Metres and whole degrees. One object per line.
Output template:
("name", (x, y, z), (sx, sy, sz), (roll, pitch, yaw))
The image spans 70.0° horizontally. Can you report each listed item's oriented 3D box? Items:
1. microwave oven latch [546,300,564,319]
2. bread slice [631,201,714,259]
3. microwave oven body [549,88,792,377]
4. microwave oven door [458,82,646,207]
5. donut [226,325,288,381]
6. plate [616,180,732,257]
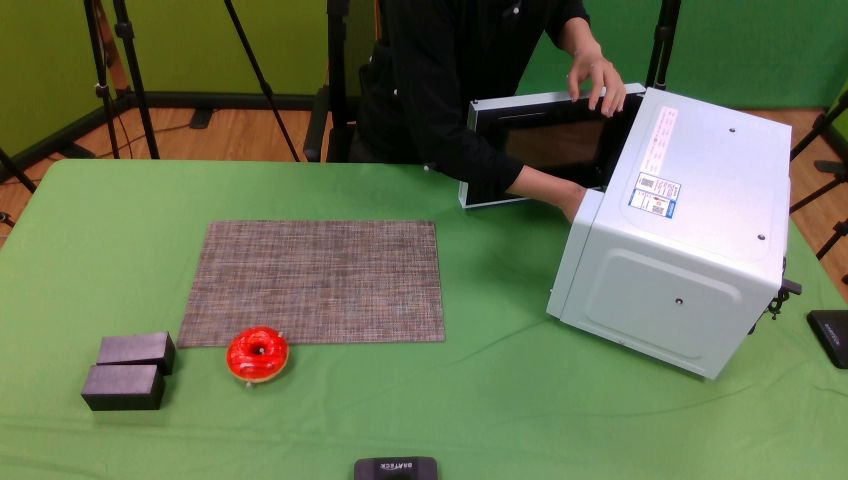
("microwave oven latch", (0.242, 0.102, 1.081), (0.030, 0.029, 0.079), (21, 48, 17))
("bread slice", (0.481, -0.028, 1.164), (0.131, 0.019, 0.104), (-22, 50, -1))
("microwave oven body", (0.456, -0.028, 1.088), (0.325, 0.261, 0.440), (20, 47, 16))
("microwave oven door", (0.252, -0.190, 1.221), (0.356, 0.245, 0.039), (-9, 48, -13))
("donut", (-0.270, 0.182, 0.984), (0.099, 0.048, 0.098), (5, 49, -5))
("plate", (0.473, -0.038, 1.161), (0.207, 0.039, 0.206), (-3, 43, 3))
